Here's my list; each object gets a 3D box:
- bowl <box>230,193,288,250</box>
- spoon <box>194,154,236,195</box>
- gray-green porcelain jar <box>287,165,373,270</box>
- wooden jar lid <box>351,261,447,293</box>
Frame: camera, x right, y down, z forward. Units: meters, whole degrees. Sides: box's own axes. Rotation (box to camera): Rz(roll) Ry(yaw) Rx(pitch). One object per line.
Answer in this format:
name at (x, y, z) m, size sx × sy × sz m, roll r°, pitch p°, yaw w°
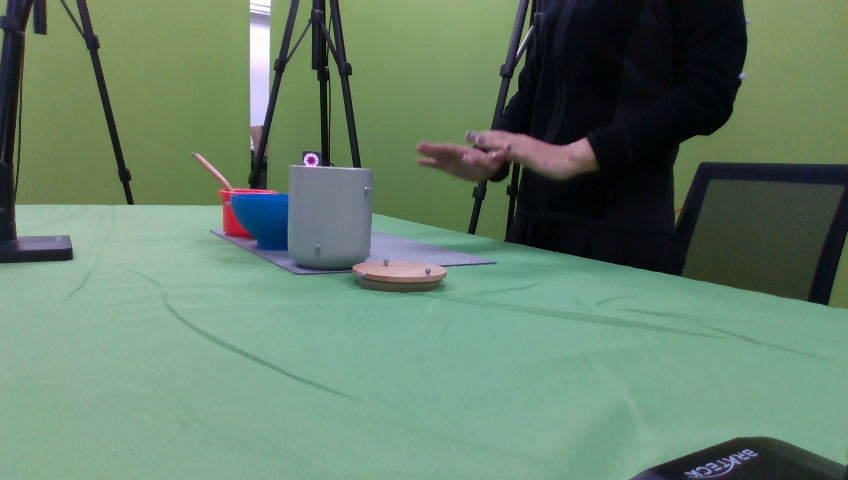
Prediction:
bowl at (-0.214, -0.028, 0.912) m, size 0.151 × 0.077 × 0.151 m, roll 2°, pitch 8°, yaw 0°
spoon at (-0.334, -0.083, 1.042) m, size 0.193 × 0.021 × 0.042 m, roll 50°, pitch 23°, yaw 11°
gray-green porcelain jar at (-0.119, -0.029, 0.767) m, size 0.106 × 0.126 × 0.106 m, roll 2°, pitch 7°, yaw 0°
wooden jar lid at (-0.028, 0.042, 0.686) m, size 0.108 × 0.020 × 0.108 m, roll 3°, pitch 8°, yaw 0°
